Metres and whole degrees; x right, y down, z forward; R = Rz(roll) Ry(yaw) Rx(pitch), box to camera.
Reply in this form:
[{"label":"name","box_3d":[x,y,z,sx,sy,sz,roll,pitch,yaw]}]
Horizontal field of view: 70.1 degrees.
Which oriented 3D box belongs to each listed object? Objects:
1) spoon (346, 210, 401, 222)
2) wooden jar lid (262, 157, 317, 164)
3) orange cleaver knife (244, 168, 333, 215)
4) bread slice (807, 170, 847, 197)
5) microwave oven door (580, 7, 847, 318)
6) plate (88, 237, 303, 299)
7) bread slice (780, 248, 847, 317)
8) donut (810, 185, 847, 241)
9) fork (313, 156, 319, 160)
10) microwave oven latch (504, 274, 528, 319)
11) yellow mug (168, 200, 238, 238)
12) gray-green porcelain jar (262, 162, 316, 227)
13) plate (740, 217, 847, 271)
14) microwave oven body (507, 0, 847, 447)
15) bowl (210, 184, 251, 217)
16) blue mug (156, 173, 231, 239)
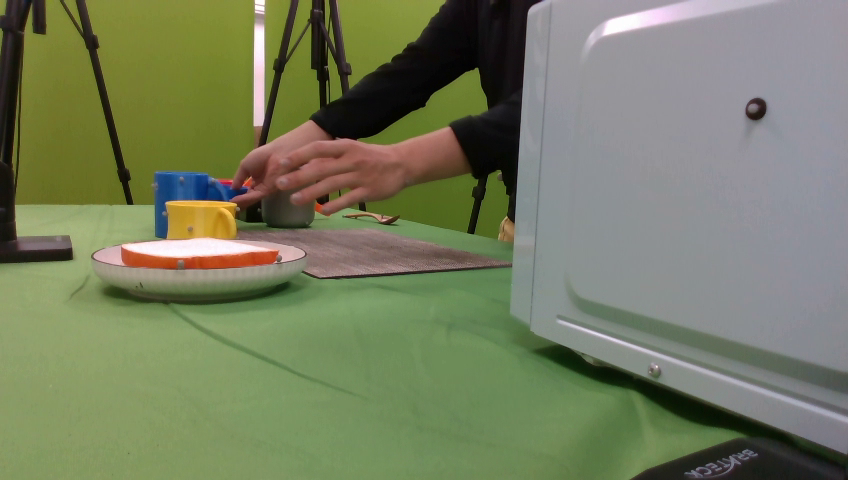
[{"label":"spoon","box_3d":[-0.121,-0.060,1.400,0.042,0.021,0.192,-27,24,-38]},{"label":"wooden jar lid","box_3d":[-0.269,-0.154,1.208,0.108,0.020,0.108,3,5,0]},{"label":"orange cleaver knife","box_3d":[-0.300,-0.089,1.351,0.212,0.077,0.012,28,-8,-34]},{"label":"bread slice","box_3d":[0.365,-0.051,0.453,0.135,0.018,0.106,-10,1,-23]},{"label":"microwave oven door","box_3d":[0.295,-0.067,0.570,0.358,0.243,0.039,-3,9,-31]},{"label":"plate","box_3d":[-0.233,0.029,0.636,0.208,0.039,0.207,2,8,0]},{"label":"bread slice","box_3d":[0.370,0.024,0.476,0.132,0.019,0.104,-24,10,-9]},{"label":"donut","box_3d":[0.352,-0.024,0.463,0.099,0.048,0.099,-10,4,1]},{"label":"fork","box_3d":[-0.331,-0.144,1.506,0.207,0.018,0.028,-42,-18,22]},{"label":"microwave oven latch","box_3d":[0.100,0.041,0.471,0.079,0.029,0.030,-1,7,-28]},{"label":"yellow mug","box_3d":[-0.320,-0.023,0.904,0.130,0.064,0.100,9,10,36]},{"label":"gray-green porcelain jar","box_3d":[-0.271,-0.092,1.217,0.106,0.126,0.106,1,7,0]},{"label":"plate","box_3d":[0.358,0.002,0.464,0.209,0.038,0.209,0,4,0]},{"label":"microwave oven body","box_3d":[0.331,-0.042,0.425,0.444,0.260,0.324,-2,8,-31]},{"label":"bowl","box_3d":[-0.408,-0.065,1.154,0.151,0.077,0.151,3,8,0]},{"label":"blue mug","box_3d":[-0.381,-0.057,1.004,0.117,0.106,0.082,1,8,-12]}]
